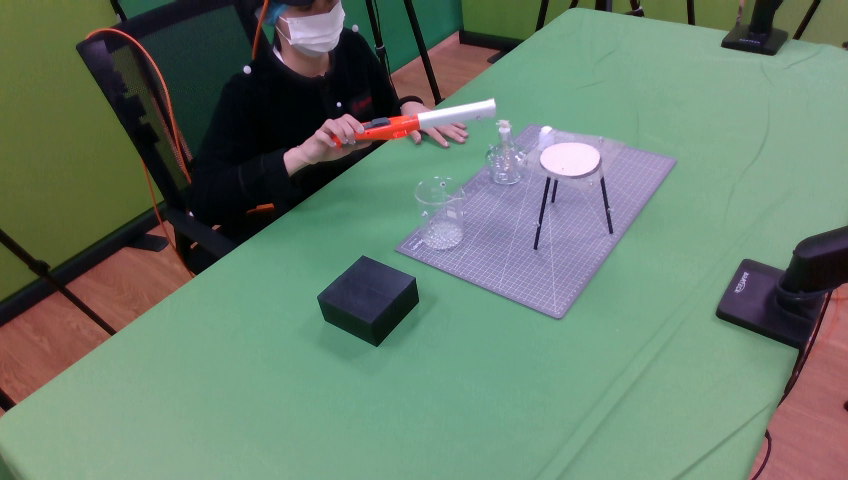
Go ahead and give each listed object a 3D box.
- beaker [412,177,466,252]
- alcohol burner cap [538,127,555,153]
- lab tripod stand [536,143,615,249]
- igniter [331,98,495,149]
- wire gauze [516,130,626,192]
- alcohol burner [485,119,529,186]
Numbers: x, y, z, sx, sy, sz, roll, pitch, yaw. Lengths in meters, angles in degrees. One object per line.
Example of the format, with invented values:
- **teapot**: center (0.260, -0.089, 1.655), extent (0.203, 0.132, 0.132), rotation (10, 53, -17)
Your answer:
- **beaker**: center (0.029, -0.038, 0.952), extent (0.083, 0.101, 0.074), rotation (9, 43, 18)
- **alcohol burner cap**: center (0.234, -0.191, 1.147), extent (0.034, 0.048, 0.033), rotation (-5, 40, 5)
- **lab tripod stand**: center (0.224, -0.069, 0.931), extent (0.148, 0.132, 0.147), rotation (-4, 42, 4)
- **igniter**: center (-0.020, -0.190, 0.990), extent (0.277, 0.057, 0.025), rotation (-12, 67, 0)
- **wire gauze**: center (0.216, -0.124, 0.892), extent (0.124, 0.011, 0.122), rotation (22, 49, 31)
- **alcohol burner**: center (0.145, -0.157, 1.064), extent (0.078, 0.119, 0.077), rotation (-6, 39, 5)
